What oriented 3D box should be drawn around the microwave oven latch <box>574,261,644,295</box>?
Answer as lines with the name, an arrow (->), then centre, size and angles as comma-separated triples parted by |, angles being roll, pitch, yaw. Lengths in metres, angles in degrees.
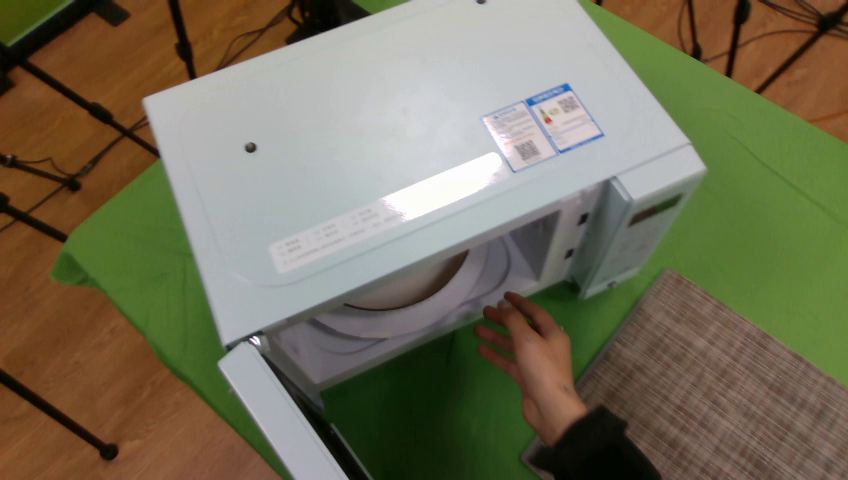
microwave oven latch -> 0.220, 0.036, 0.721 | 0.079, 0.030, 0.030 | -23, 66, -8

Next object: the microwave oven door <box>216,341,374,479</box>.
microwave oven door -> -0.034, 0.254, 0.512 | 0.039, 0.245, 0.353 | -37, 68, -15

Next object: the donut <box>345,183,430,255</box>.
donut -> -0.042, -0.025, 0.702 | 0.099, 0.048, 0.098 | 5, 51, -5

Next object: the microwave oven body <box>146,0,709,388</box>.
microwave oven body -> -0.007, -0.058, 0.667 | 0.442, 0.262, 0.323 | -23, 66, -8

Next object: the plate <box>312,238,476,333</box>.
plate -> -0.044, 0.012, 0.685 | 0.209, 0.038, 0.207 | -3, 59, 5
